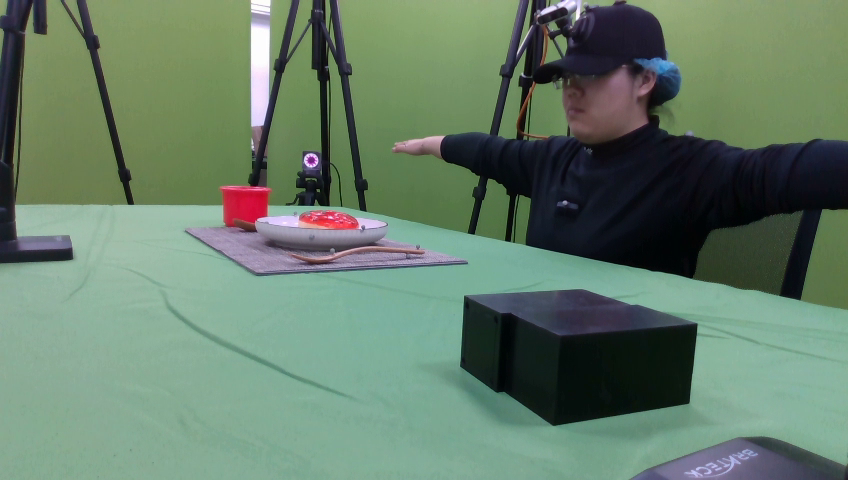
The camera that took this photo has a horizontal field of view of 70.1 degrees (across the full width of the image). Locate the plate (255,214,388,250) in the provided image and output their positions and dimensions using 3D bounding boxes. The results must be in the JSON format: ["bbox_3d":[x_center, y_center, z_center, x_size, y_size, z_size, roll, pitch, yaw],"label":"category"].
[{"bbox_3d":[-0.161,-0.013,0.961,0.209,0.038,0.209,2,7,0],"label":"plate"}]

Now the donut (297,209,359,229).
[{"bbox_3d":[-0.151,-0.023,0.955,0.099,0.048,0.099,6,7,0],"label":"donut"}]

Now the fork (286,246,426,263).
[{"bbox_3d":[-0.085,0.019,0.813,0.208,0.018,0.028,-4,3,-34],"label":"fork"}]

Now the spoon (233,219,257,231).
[{"bbox_3d":[-0.250,-0.028,1.108,0.195,0.021,0.041,-2,-9,-29],"label":"spoon"}]
